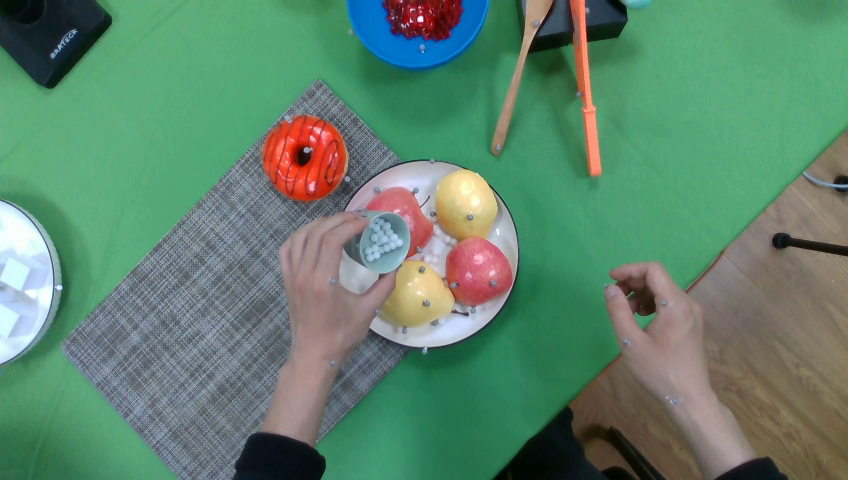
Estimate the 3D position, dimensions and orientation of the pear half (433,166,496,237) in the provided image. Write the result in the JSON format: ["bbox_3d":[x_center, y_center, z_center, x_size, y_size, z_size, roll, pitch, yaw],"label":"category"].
[{"bbox_3d":[0.041,-0.035,0.659,0.070,0.031,0.088,-14,99,28],"label":"pear half"}]

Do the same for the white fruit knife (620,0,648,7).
[{"bbox_3d":[0.152,-0.315,0.632,0.027,0.016,0.207,-40,83,-26],"label":"white fruit knife"}]

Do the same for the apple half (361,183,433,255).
[{"bbox_3d":[-0.034,-0.021,0.663,0.074,0.053,0.081,-28,90,5],"label":"apple half"}]

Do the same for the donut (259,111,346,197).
[{"bbox_3d":[-0.138,-0.097,0.687,0.099,0.048,0.099,0,92,7],"label":"donut"}]

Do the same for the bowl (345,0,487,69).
[{"bbox_3d":[-0.005,-0.255,0.664,0.151,0.077,0.151,0,90,5],"label":"bowl"}]

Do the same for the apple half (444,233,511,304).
[{"bbox_3d":[0.050,0.033,0.654,0.081,0.033,0.081,6,105,23],"label":"apple half"}]

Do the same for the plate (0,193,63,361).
[{"bbox_3d":[-0.528,0.044,0.728,0.207,0.039,0.207,0,89,5],"label":"plate"}]

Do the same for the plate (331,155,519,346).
[{"bbox_3d":[0.001,0.012,0.676,0.209,0.038,0.209,0,89,5],"label":"plate"}]

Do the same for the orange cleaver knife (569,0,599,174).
[{"bbox_3d":[0.168,-0.177,0.645,0.012,0.076,0.213,-9,114,10],"label":"orange cleaver knife"}]

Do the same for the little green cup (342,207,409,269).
[{"bbox_3d":[-0.049,-0.004,0.594,0.038,0.062,0.061,15,90,47],"label":"little green cup"}]

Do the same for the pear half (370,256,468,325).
[{"bbox_3d":[-0.003,0.061,0.662,0.110,0.056,0.076,18,95,2],"label":"pear half"}]

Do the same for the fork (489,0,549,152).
[{"bbox_3d":[0.102,-0.193,0.649,0.028,0.018,0.208,13,111,-2],"label":"fork"}]
